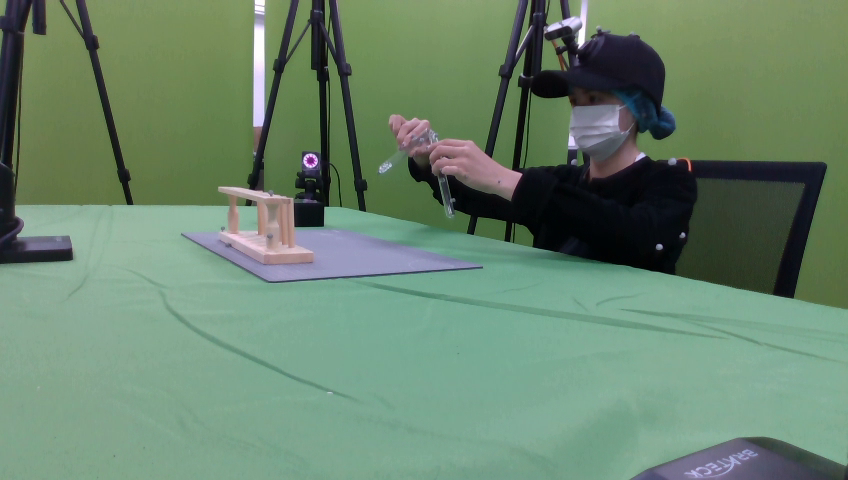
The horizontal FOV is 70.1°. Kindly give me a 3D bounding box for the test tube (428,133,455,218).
[{"bbox_3d":[0.030,-0.109,1.018,0.017,0.150,0.017,-12,-7,-1],"label":"test tube"}]

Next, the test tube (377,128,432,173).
[{"bbox_3d":[-0.038,-0.158,1.084,0.017,0.017,0.149,-5,-19,-45],"label":"test tube"}]

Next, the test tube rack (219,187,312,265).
[{"bbox_3d":[-0.235,-0.027,0.872,0.067,0.085,0.241,-2,8,-31],"label":"test tube rack"}]
